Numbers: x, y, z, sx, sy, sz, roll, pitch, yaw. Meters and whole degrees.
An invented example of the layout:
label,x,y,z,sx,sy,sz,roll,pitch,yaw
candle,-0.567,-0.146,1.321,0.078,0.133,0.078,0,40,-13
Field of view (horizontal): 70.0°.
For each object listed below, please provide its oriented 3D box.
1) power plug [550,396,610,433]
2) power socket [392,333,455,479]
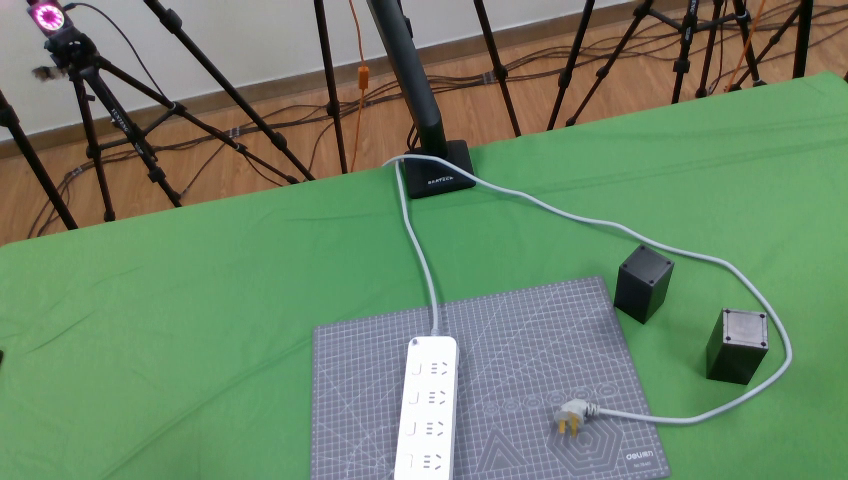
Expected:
label,x,y,z,sx,sy,sz,roll,pitch,yaw
power plug,0.197,0.222,0.769,0.072,0.035,0.052,-5,34,22
power socket,0.002,0.227,0.811,0.072,0.033,0.224,-2,53,9
